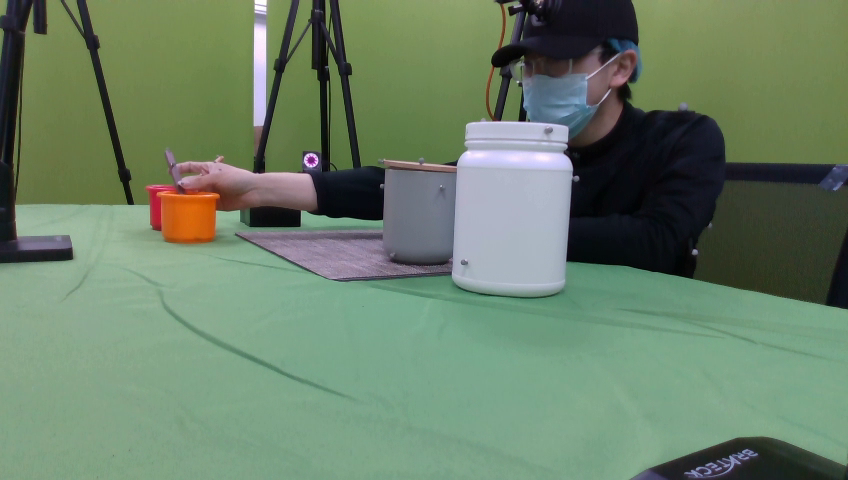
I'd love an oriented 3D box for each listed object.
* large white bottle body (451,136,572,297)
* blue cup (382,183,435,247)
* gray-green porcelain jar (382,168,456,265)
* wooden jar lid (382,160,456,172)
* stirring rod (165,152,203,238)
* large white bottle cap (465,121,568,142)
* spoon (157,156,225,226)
[{"bbox_3d":[0.099,-0.037,0.688,0.131,0.184,0.130,2,7,0],"label":"large white bottle body"},{"bbox_3d":[-0.025,-0.041,0.980,0.093,0.100,0.092,1,5,0],"label":"blue cup"},{"bbox_3d":[-0.005,-0.034,0.834,0.106,0.126,0.106,3,7,0],"label":"gray-green porcelain jar"},{"bbox_3d":[-0.003,-0.096,0.826,0.108,0.020,0.108,4,10,0],"label":"wooden jar lid"},{"bbox_3d":[-0.386,-0.075,0.970,0.006,0.175,0.014,-41,-26,27],"label":"stirring rod"},{"bbox_3d":[0.103,-0.120,0.677,0.115,0.018,0.115,3,7,0],"label":"large white bottle cap"},{"bbox_3d":[-0.425,-0.093,1.117,0.041,0.022,0.194,3,51,30],"label":"spoon"}]
